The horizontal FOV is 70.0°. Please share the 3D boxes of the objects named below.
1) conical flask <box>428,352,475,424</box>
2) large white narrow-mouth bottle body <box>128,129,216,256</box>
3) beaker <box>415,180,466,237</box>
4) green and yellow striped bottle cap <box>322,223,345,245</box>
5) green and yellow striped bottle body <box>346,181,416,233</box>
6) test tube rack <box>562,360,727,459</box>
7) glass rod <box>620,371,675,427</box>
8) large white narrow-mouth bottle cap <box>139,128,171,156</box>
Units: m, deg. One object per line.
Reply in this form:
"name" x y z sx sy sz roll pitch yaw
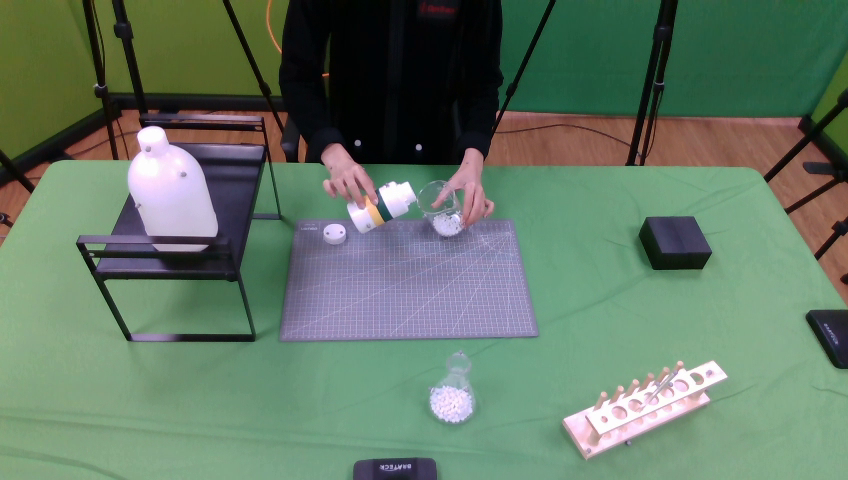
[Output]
"conical flask" 0.046 0.220 0.920 0.075 0.122 0.075 2 46 -2
"large white narrow-mouth bottle body" -0.366 -0.073 0.872 0.102 0.195 0.101 3 47 -3
"beaker" 0.038 -0.056 1.161 0.083 0.101 0.074 26 74 31
"green and yellow striped bottle cap" -0.179 -0.013 1.197 0.045 0.020 0.045 2 49 -2
"green and yellow striped bottle body" -0.076 -0.065 1.100 0.120 0.063 0.062 -25 50 2
"test tube rack" 0.341 0.247 0.940 0.243 0.085 0.066 -16 49 -18
"glass rod" 0.316 0.230 0.863 0.008 0.200 0.008 3 54 -3
"large white narrow-mouth bottle cap" -0.359 -0.131 0.808 0.038 0.024 0.037 3 47 -3
